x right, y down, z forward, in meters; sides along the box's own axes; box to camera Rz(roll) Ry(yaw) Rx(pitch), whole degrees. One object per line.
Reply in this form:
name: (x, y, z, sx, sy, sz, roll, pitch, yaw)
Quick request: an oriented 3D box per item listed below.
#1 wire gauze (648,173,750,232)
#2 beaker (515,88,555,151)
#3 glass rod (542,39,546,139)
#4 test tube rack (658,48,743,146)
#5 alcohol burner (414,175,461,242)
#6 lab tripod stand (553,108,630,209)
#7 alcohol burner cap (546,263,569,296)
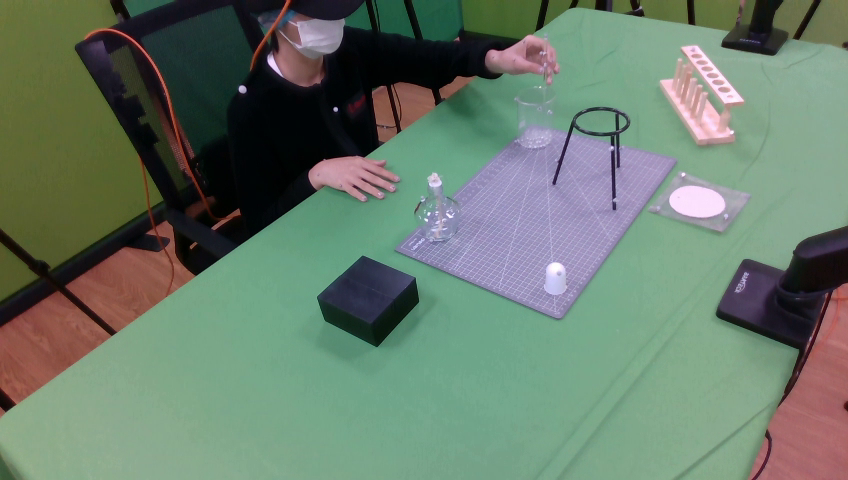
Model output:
wire gauze: (0.451, -0.062, 0.990, 0.120, 0.011, 0.125, 26, 49, 32)
beaker: (0.213, -0.230, 1.152, 0.073, 0.101, 0.084, 20, 47, 29)
glass rod: (0.222, -0.274, 1.121, 0.008, 0.200, 0.008, -5, 39, 5)
test tube rack: (0.532, -0.284, 1.181, 0.067, 0.085, 0.241, -5, 40, 4)
alcohol burner: (0.020, -0.055, 0.963, 0.078, 0.119, 0.077, -3, 41, 4)
lab tripod stand: (0.292, -0.144, 1.010, 0.148, 0.132, 0.147, -5, 38, 4)
alcohol burner cap: (0.191, 0.053, 0.862, 0.034, 0.048, 0.033, -5, 40, 4)
